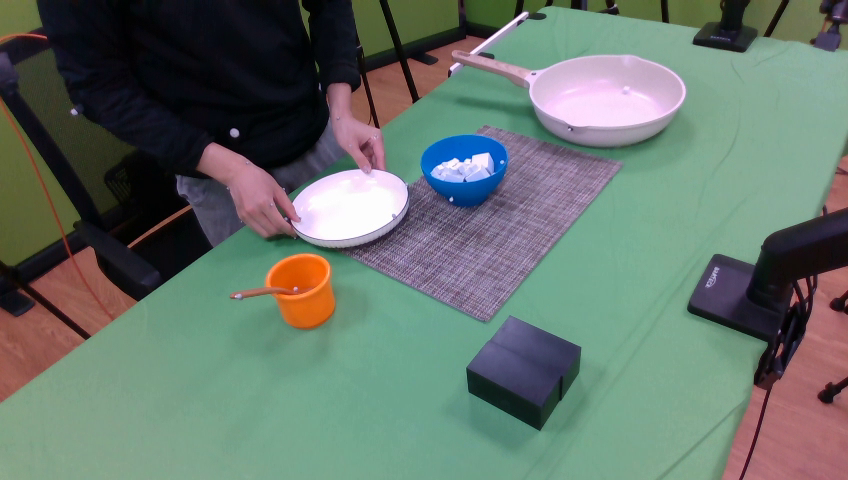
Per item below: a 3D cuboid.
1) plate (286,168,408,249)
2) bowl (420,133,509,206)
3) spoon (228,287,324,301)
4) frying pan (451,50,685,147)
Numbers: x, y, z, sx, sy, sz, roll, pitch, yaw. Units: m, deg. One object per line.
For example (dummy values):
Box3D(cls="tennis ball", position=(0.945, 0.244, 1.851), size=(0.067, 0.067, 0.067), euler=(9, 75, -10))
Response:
Box3D(cls="plate", position=(-0.127, -0.050, 1.029), size=(0.207, 0.039, 0.206), euler=(-5, 39, 5))
Box3D(cls="bowl", position=(0.071, -0.112, 1.038), size=(0.151, 0.077, 0.150), euler=(-4, 41, 4))
Box3D(cls="spoon", position=(-0.197, 0.071, 0.816), size=(0.041, 0.195, 0.021), euler=(13, 88, 23))
Box3D(cls="frying pan", position=(0.269, -0.316, 1.233), size=(0.485, 0.103, 0.307), euler=(26, 49, 21))
